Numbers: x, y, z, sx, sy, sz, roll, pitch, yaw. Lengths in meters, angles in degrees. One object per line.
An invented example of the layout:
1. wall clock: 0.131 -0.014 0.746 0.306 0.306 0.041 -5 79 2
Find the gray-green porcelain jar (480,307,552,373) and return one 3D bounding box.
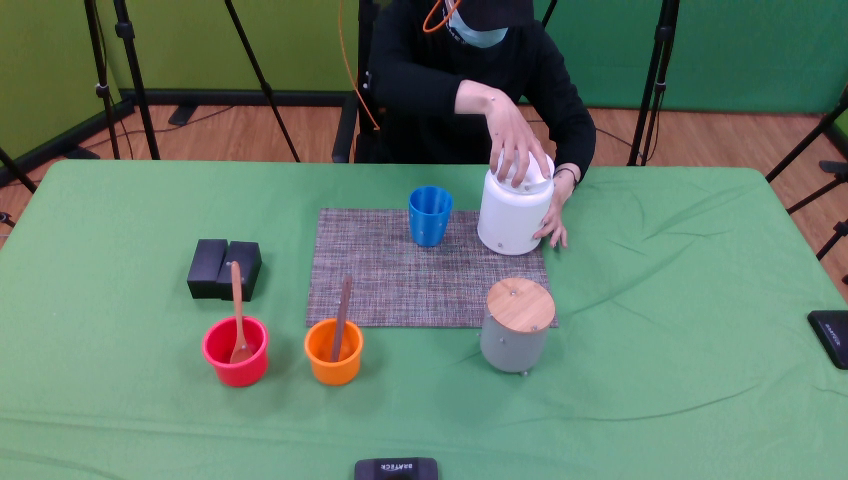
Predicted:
1. gray-green porcelain jar: 0.148 0.148 0.992 0.106 0.127 0.105 2 46 -2

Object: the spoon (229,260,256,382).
1. spoon: -0.294 0.129 0.966 0.042 0.021 0.193 -4 91 -9

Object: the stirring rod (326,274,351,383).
1. stirring rod: -0.137 0.142 0.971 0.014 0.006 0.176 9 89 1

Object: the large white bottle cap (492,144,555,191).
1. large white bottle cap: 0.181 -0.134 1.101 0.115 0.018 0.114 3 46 -2

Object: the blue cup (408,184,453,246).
1. blue cup: 0.008 -0.043 1.177 0.093 0.101 0.092 3 48 -3

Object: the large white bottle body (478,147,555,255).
1. large white bottle body: 0.177 -0.076 1.162 0.131 0.185 0.130 2 46 -2

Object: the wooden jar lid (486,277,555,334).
1. wooden jar lid: 0.150 0.105 0.948 0.108 0.021 0.107 3 47 -3
